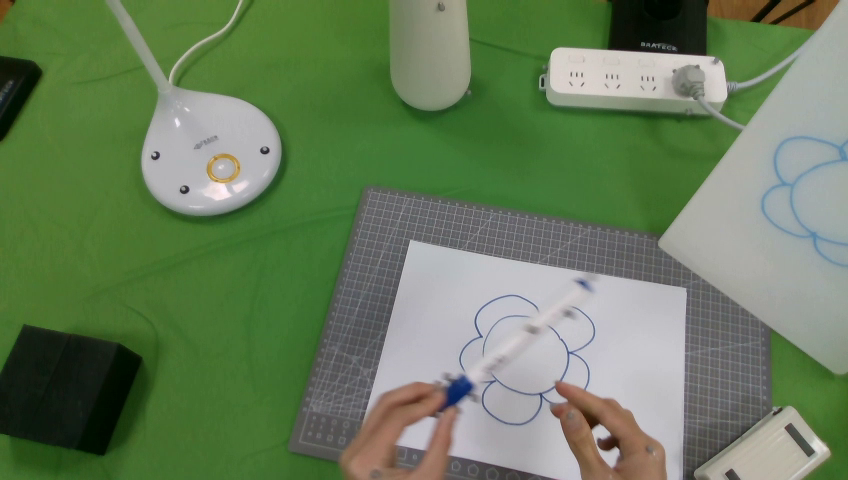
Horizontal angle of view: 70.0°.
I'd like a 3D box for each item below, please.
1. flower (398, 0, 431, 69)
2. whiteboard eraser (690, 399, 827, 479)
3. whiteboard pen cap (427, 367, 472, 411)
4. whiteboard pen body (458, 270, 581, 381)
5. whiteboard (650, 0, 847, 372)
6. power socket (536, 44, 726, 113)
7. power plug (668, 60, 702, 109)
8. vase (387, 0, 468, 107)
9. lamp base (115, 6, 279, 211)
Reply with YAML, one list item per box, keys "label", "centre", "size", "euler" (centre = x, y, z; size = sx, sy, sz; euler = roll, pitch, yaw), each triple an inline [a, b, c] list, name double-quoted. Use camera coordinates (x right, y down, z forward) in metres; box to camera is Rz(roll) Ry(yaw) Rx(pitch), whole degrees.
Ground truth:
- label: "flower"
  centre: [0.017, -0.264, 0.593]
  size: [0.044, 0.362, 0.038]
  euler: [-30, 85, -21]
- label: "whiteboard eraser"
  centre: [0.301, 0.196, 0.549]
  size: [0.113, 0.042, 0.055]
  euler: [-31, 67, -12]
- label: "whiteboard pen cap"
  centre: [0.020, 0.111, 0.452]
  size: [0.033, 0.018, 0.018]
  euler: [-40, 70, -8]
- label: "whiteboard pen body"
  centre: [0.064, 0.072, 0.458]
  size: [0.141, 0.017, 0.017]
  euler: [-40, 70, -6]
- label: "whiteboard"
  centre: [0.403, -0.062, 0.557]
  size: [0.216, 0.307, 0.144]
  euler: [40, 51, 18]
- label: "power socket"
  centre: [0.252, -0.197, 0.739]
  size: [0.226, 0.033, 0.071]
  euler: [5, 66, 3]
- label: "power plug"
  centre: [0.299, -0.175, 0.703]
  size: [0.035, 0.053, 0.072]
  euler: [15, 73, 8]
- label: "vase"
  centre: [0.001, -0.240, 0.673]
  size: [0.098, 0.201, 0.097]
  euler: [-1, 64, 2]
- label: "lamp base"
  centre: [-0.262, -0.146, 0.645]
  size: [0.160, 0.182, 0.178]
  euler: [-42, 68, -17]
